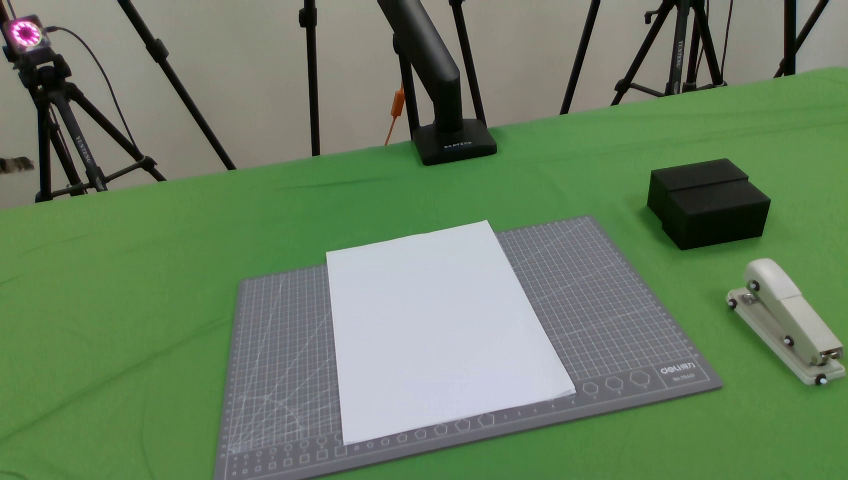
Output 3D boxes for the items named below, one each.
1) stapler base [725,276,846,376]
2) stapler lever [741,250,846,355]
[{"bbox_3d":[0.342,0.072,0.579,0.041,0.024,0.129,-13,38,-5],"label":"stapler base"},{"bbox_3d":[0.341,0.054,0.564,0.027,0.040,0.117,-13,37,-5],"label":"stapler lever"}]
